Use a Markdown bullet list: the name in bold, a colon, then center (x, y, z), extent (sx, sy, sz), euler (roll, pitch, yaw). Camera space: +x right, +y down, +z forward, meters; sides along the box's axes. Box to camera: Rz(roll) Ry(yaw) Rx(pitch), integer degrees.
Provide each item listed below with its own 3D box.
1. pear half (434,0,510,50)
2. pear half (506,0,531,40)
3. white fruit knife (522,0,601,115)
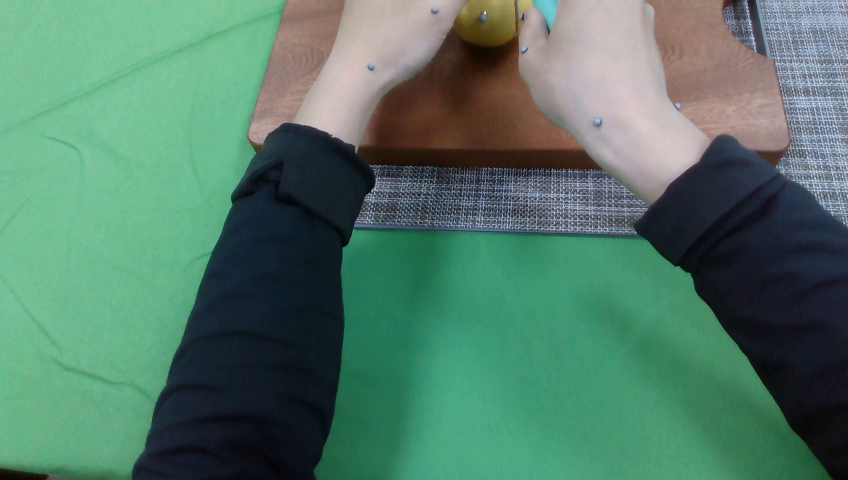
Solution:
- **pear half**: center (0.033, -0.197, 0.455), extent (0.056, 0.111, 0.075), euler (-17, 57, 0)
- **pear half**: center (0.072, -0.200, 0.465), extent (0.031, 0.089, 0.069), euler (-15, 58, -5)
- **white fruit knife**: center (0.069, -0.170, 0.409), extent (0.016, 0.027, 0.205), euler (-19, 64, -4)
